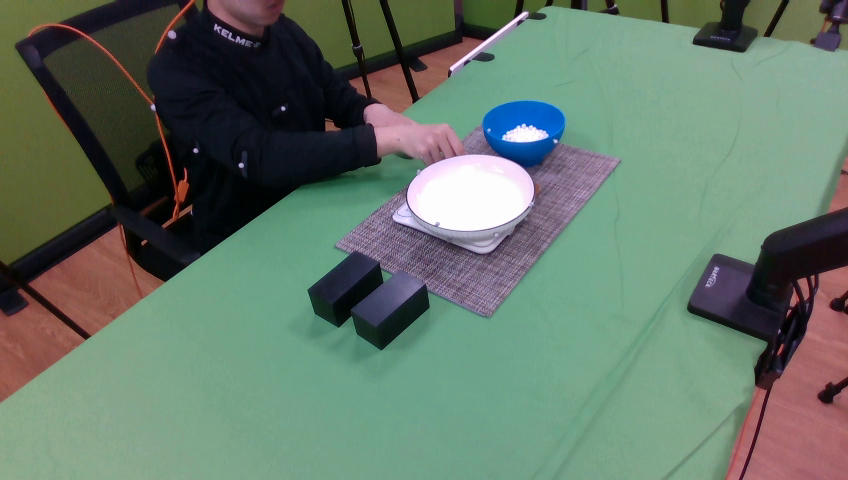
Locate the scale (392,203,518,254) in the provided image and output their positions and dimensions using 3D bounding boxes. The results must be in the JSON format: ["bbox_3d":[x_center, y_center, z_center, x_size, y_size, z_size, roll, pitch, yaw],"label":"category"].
[{"bbox_3d":[0.061,-0.050,1.006,0.199,0.032,0.149,22,48,30],"label":"scale"}]

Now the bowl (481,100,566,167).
[{"bbox_3d":[0.183,-0.186,1.111,0.151,0.077,0.150,-4,41,4],"label":"bowl"}]

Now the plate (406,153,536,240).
[{"bbox_3d":[0.075,-0.067,0.973,0.209,0.038,0.208,-4,41,4],"label":"plate"}]

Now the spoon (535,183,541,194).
[{"bbox_3d":[0.120,-0.108,1.071,0.192,0.022,0.041,22,62,31],"label":"spoon"}]
